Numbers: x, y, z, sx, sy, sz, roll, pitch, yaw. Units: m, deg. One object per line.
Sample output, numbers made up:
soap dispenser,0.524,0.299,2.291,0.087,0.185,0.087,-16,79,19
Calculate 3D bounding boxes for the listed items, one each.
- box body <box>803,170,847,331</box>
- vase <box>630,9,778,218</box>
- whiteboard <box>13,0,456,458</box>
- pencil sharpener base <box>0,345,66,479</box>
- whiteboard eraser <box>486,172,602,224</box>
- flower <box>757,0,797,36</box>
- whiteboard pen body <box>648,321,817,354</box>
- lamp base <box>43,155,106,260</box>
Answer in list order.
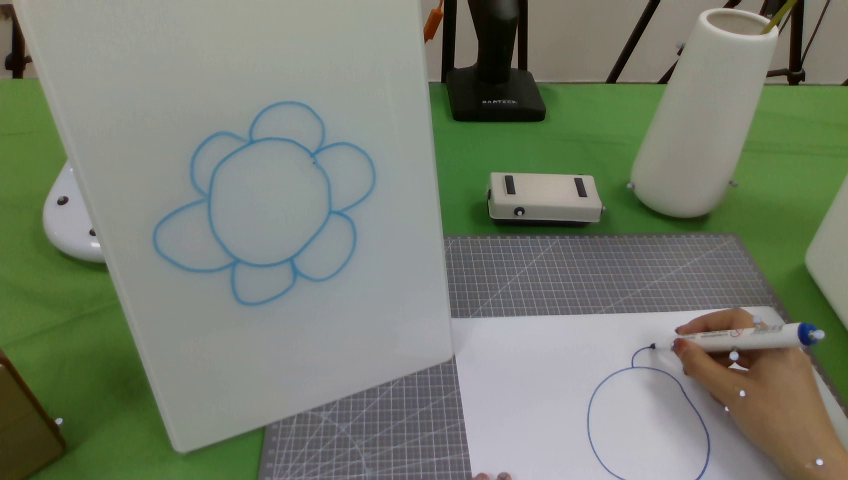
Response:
box body,0.493,0.075,0.435,0.254,0.162,0.360,0,43,-3
vase,0.277,-0.118,0.603,0.098,0.201,0.097,3,42,-2
whiteboard,-0.113,-0.036,0.449,0.218,0.307,0.142,-15,26,-18
pencil sharpener base,-0.292,0.102,0.389,0.076,0.108,0.061,33,51,29
whiteboard eraser,0.122,-0.042,0.625,0.113,0.042,0.055,0,40,-2
flower,0.291,-0.170,0.538,0.044,0.363,0.038,-20,65,-32
whiteboard pen body,0.220,0.075,0.451,0.017,0.140,0.017,6,75,-25
lamp base,-0.294,-0.099,0.555,0.178,0.182,0.160,28,48,27
